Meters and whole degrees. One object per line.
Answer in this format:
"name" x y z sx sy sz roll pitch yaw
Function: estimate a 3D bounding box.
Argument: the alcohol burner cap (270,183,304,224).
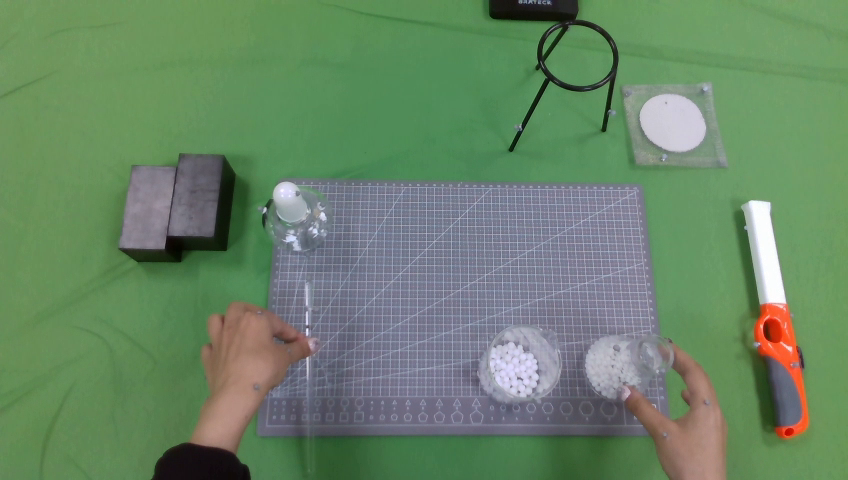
"alcohol burner cap" -0.144 -0.041 0.633 0.034 0.048 0.033 2 65 -3

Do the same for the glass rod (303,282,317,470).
"glass rod" -0.119 0.143 0.635 0.008 0.008 0.199 -2 92 -4

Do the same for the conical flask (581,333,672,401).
"conical flask" 0.215 0.125 0.629 0.075 0.122 0.075 1 72 -2

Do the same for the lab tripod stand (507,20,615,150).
"lab tripod stand" 0.161 -0.180 0.722 0.148 0.132 0.147 1 74 -2

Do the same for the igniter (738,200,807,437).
"igniter" 0.403 0.085 0.704 0.057 0.025 0.274 4 72 -13

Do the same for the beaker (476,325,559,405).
"beaker" 0.096 0.132 0.634 0.084 0.101 0.073 -41 78 -14

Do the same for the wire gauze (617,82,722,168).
"wire gauze" 0.319 -0.150 0.785 0.125 0.011 0.120 0 73 -5

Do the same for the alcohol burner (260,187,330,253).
"alcohol burner" -0.145 -0.028 0.666 0.078 0.120 0.077 0 72 0
